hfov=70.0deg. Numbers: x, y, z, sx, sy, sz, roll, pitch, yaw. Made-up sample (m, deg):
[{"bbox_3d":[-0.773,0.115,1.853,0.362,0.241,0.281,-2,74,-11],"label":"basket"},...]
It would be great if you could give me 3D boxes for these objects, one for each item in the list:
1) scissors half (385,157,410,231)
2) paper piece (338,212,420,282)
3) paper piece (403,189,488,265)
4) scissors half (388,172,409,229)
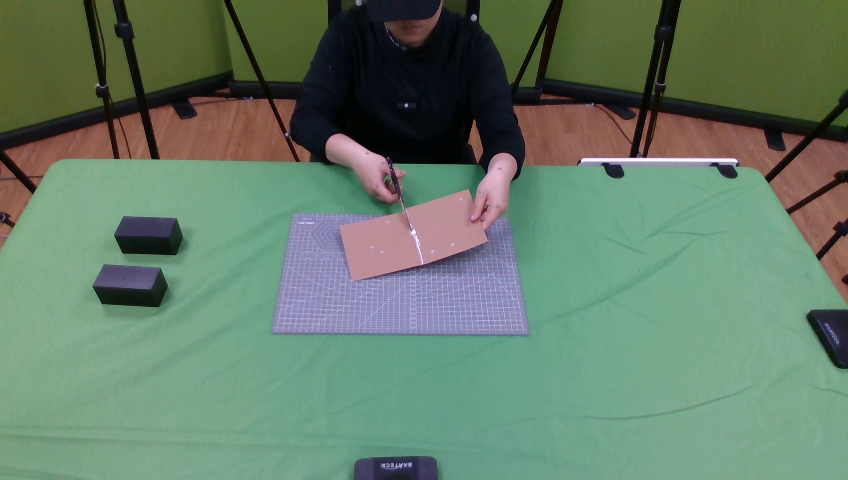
[{"bbox_3d":[-0.052,-0.093,1.219,0.013,0.040,0.174,-17,70,0],"label":"scissors half"},{"bbox_3d":[-0.089,0.010,1.165,0.135,0.004,0.135,-13,54,-6],"label":"paper piece"},{"bbox_3d":[0.040,-0.027,1.170,0.138,0.009,0.135,-18,61,2],"label":"paper piece"},{"bbox_3d":[-0.050,-0.082,1.237,0.013,0.040,0.174,-15,46,-4],"label":"scissors half"}]
